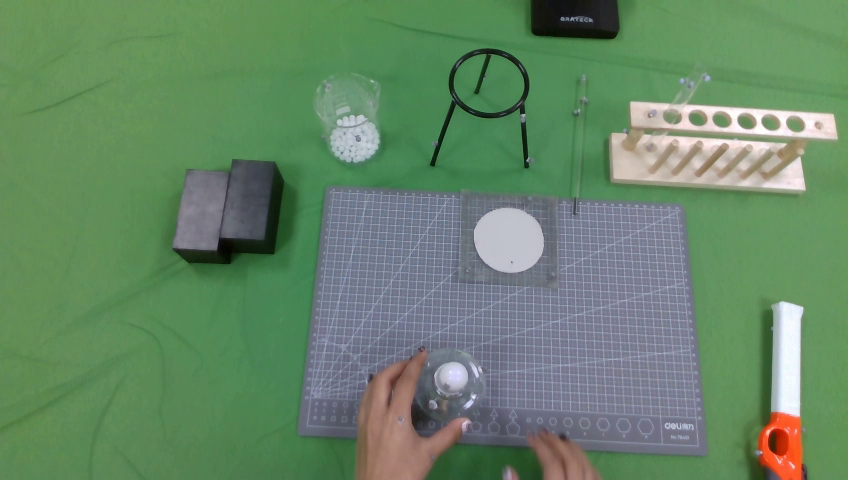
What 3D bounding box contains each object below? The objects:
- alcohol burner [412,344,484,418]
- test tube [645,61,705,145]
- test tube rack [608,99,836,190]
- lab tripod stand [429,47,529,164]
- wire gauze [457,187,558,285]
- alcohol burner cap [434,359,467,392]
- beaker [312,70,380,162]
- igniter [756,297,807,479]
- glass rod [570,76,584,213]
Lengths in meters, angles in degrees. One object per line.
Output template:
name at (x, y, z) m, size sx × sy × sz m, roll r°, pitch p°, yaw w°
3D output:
alcohol burner at (0.026, 0.144, 0.630) m, size 0.078 × 0.120 × 0.077 m, roll 1°, pitch 69°, yaw -2°
test tube at (0.288, -0.154, 0.705) m, size 0.017 × 0.151 × 0.017 m, roll 0°, pitch 67°, yaw 0°
test tube rack at (0.360, -0.115, 0.745) m, size 0.242 × 0.085 × 0.066 m, roll 3°, pitch 71°, yaw 0°
lab tripod stand at (0.068, -0.158, 0.728) m, size 0.148 × 0.132 × 0.147 m, roll 0°, pitch 70°, yaw 1°
wire gauze at (0.102, -0.008, 0.740) m, size 0.125 × 0.011 × 0.120 m, roll 4°, pitch 70°, yaw 1°
alcohol burner cap at (0.028, 0.132, 0.596) m, size 0.034 × 0.048 × 0.033 m, roll 1°, pitch 74°, yaw -3°
beaker at (-0.089, -0.148, 0.738) m, size 0.084 × 0.101 × 0.073 m, roll -34°, pitch 75°, yaw -13°
igniter at (0.395, 0.198, 0.669) m, size 0.057 × 0.025 × 0.275 m, roll 15°, pitch 71°, yaw -7°
glass rod at (0.199, -0.127, 0.784) m, size 0.008 × 0.008 × 0.198 m, roll 8°, pitch 72°, yaw 1°
